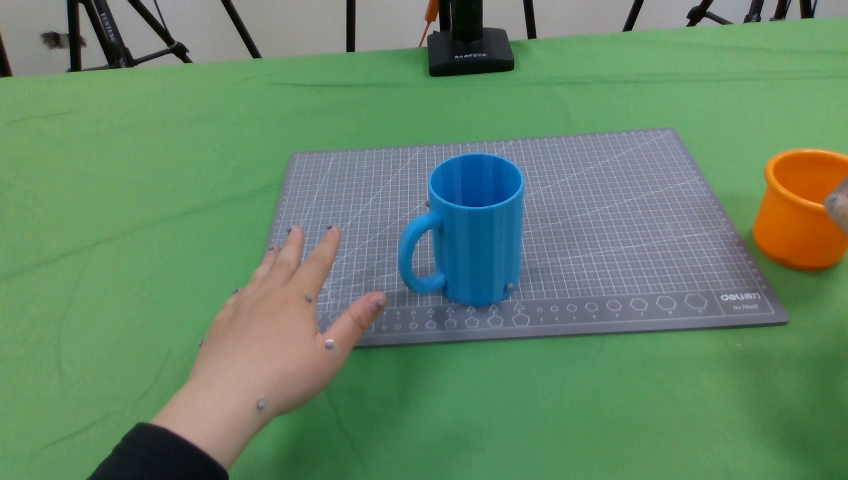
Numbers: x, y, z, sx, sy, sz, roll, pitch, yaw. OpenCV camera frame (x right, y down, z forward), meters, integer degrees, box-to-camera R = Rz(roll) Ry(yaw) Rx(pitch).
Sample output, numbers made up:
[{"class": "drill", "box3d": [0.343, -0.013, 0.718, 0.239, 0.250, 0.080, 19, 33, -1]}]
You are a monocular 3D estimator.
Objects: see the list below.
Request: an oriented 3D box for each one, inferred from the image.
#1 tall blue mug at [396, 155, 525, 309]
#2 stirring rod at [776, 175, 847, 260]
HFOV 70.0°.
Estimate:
[{"class": "tall blue mug", "box3d": [0.035, 0.003, 0.500, 0.077, 0.109, 0.107, 19, 47, 24]}, {"class": "stirring rod", "box3d": [0.365, -0.053, 0.512, 0.176, 0.006, 0.014, -52, 38, 13]}]
